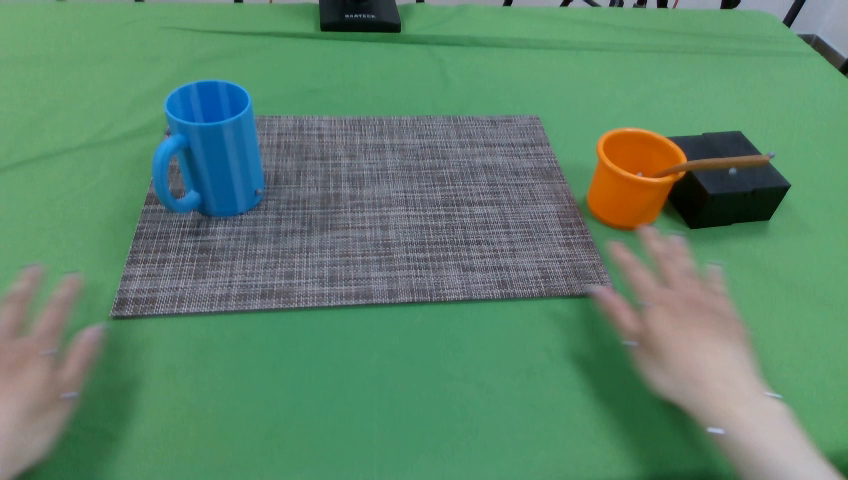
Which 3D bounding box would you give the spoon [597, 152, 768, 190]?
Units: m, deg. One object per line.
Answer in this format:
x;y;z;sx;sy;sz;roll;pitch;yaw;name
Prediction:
0.245;-0.070;0.598;0.042;0.193;0.021;-20;94;-25;spoon

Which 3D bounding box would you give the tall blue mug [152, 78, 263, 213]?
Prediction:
-0.202;-0.080;0.580;0.078;0.109;0.106;5;45;-3;tall blue mug
